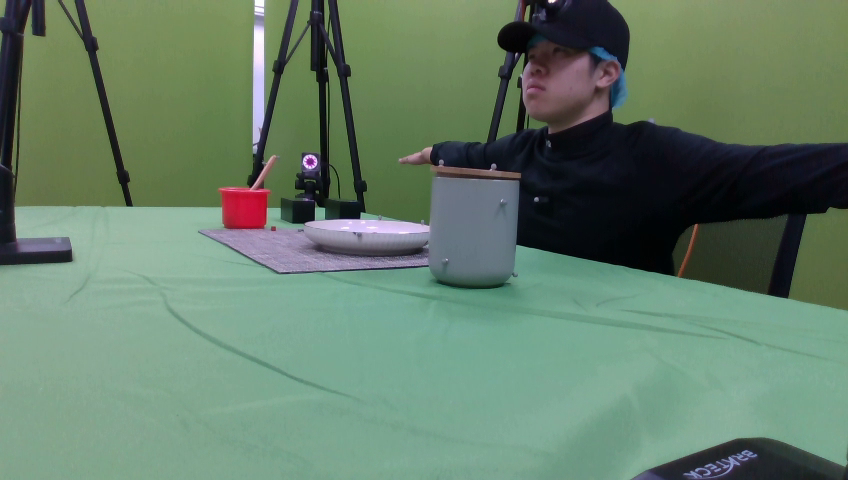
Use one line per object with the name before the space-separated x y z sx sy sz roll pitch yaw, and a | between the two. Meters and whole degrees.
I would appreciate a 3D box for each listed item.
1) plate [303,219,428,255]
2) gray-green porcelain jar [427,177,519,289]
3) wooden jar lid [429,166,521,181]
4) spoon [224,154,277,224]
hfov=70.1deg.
plate | -0.084 -0.005 0.952 0.208 0.039 0.207 3 7 0
gray-green porcelain jar | 0.057 -0.010 0.722 0.106 0.126 0.106 2 7 0
wooden jar lid | 0.059 -0.074 0.714 0.108 0.020 0.108 4 6 0
spoon | -0.345 -0.106 1.214 0.041 0.022 0.194 2 45 26
